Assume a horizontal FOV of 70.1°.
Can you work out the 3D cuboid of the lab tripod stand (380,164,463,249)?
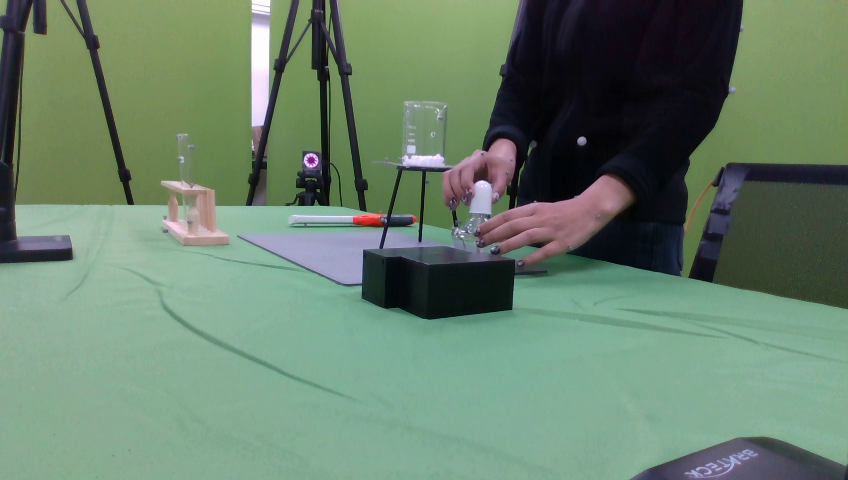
[{"bbox_3d":[-0.003,-0.055,0.967,0.148,0.131,0.148,3,9,0],"label":"lab tripod stand"}]

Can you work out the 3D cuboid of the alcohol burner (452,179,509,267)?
[{"bbox_3d":[0.077,-0.023,0.821,0.078,0.119,0.078,1,9,0],"label":"alcohol burner"}]

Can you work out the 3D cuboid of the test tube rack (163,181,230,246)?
[{"bbox_3d":[-0.387,-0.050,1.015,0.067,0.085,0.241,-2,9,-30],"label":"test tube rack"}]

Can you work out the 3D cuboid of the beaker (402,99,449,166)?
[{"bbox_3d":[0.003,-0.168,0.957,0.073,0.100,0.084,8,11,35],"label":"beaker"}]

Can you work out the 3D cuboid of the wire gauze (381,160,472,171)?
[{"bbox_3d":[-0.004,-0.120,0.959,0.122,0.011,0.124,-5,13,-33],"label":"wire gauze"}]

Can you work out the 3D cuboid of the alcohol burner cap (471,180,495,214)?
[{"bbox_3d":[0.081,-0.058,0.821,0.034,0.048,0.034,1,0,0],"label":"alcohol burner cap"}]

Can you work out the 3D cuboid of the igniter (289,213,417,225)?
[{"bbox_3d":[-0.144,-0.044,1.275,0.278,0.025,0.057,-1,-1,-27],"label":"igniter"}]

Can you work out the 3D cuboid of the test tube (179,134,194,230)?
[{"bbox_3d":[-0.366,-0.089,0.938,0.017,0.150,0.017,-1,9,1],"label":"test tube"}]
